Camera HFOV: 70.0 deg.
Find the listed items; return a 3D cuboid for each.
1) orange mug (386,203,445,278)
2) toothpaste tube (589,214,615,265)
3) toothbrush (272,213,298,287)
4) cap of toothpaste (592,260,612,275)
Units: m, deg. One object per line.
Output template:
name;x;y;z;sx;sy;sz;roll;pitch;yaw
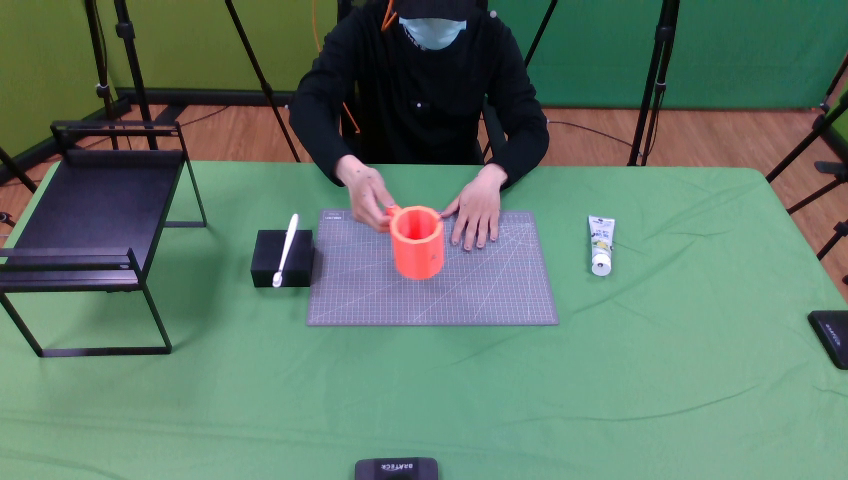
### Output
orange mug;-0.019;-0.008;1.041;0.083;0.101;0.125;-34;61;-25
toothpaste tube;0.360;0.002;1.220;0.055;0.034;0.164;14;43;3
toothbrush;-0.252;0.013;1.104;0.014;0.017;0.181;2;46;2
cap of toothpaste;0.341;0.051;1.162;0.037;0.037;0.011;10;43;5
